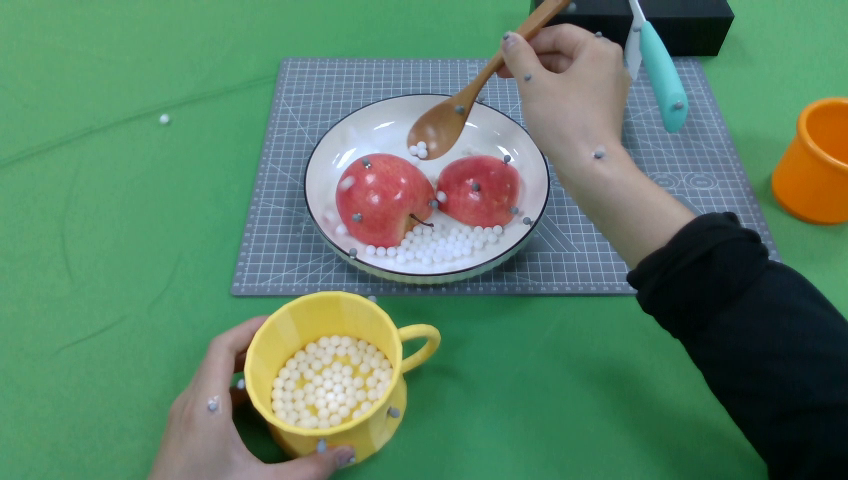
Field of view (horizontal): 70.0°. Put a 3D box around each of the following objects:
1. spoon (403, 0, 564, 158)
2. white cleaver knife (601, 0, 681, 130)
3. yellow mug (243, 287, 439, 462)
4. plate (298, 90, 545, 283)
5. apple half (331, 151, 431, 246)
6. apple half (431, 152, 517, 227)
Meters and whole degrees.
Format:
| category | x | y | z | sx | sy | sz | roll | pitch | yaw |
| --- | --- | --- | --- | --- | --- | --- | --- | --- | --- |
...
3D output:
| category | x | y | z | sx | sy | sz | roll | pitch | yaw |
| --- | --- | --- | --- | --- | --- | --- | --- | --- | --- |
| spoon | 0.051 | -0.132 | 0.458 | 0.022 | 0.194 | 0.041 | -2 | 56 | -51 |
| white cleaver knife | 0.215 | -0.208 | 0.623 | 0.021 | 0.066 | 0.283 | -2 | 50 | 4 |
| yellow mug | -0.050 | 0.085 | 0.413 | 0.131 | 0.064 | 0.099 | -19 | 57 | -15 |
| plate | -0.002 | -0.047 | 0.523 | 0.209 | 0.038 | 0.207 | 0 | 54 | 0 |
| apple half | -0.037 | -0.043 | 0.500 | 0.081 | 0.054 | 0.074 | -38 | 60 | -24 |
| apple half | 0.043 | -0.052 | 0.518 | 0.081 | 0.033 | 0.080 | 1 | 57 | 0 |
